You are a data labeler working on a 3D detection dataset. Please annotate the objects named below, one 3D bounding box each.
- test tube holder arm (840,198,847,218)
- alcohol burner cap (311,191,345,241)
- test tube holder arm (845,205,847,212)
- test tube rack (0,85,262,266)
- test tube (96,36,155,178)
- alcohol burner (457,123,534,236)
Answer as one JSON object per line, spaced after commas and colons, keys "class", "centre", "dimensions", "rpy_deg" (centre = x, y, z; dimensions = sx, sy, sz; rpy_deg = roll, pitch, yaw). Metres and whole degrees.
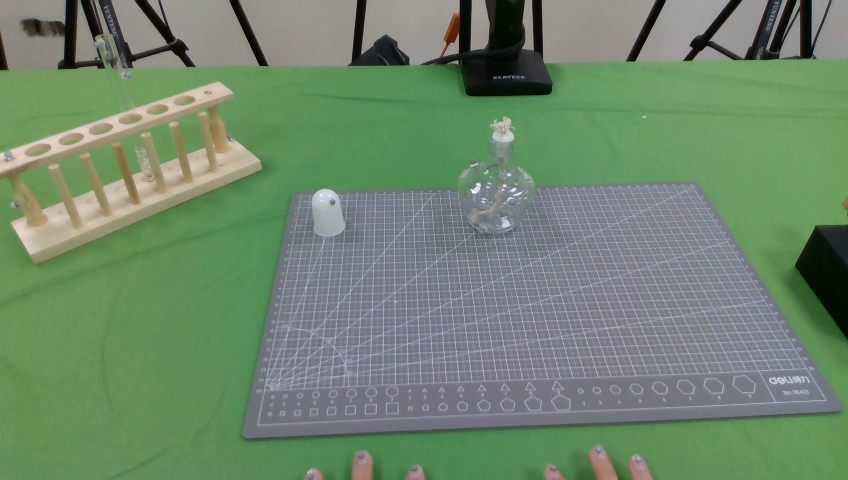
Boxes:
{"class": "test tube holder arm", "centre": [0.393, -0.005, 0.532], "dimensions": [0.010, 0.015, 0.087], "rpy_deg": [1, 42, 0]}
{"class": "alcohol burner cap", "centre": [-0.097, -0.027, 0.602], "dimensions": [0.034, 0.048, 0.033], "rpy_deg": [1, 41, 0]}
{"class": "test tube holder arm", "centre": [0.400, 0.025, 0.499], "dimensions": [0.013, 0.015, 0.176], "rpy_deg": [0, 42, -2]}
{"class": "test tube rack", "centre": [-0.297, -0.074, 0.624], "dimensions": [0.242, 0.086, 0.066], "rpy_deg": [-30, 49, -30]}
{"class": "test tube", "centre": [-0.297, -0.129, 0.611], "dimensions": [0.017, 0.151, 0.017], "rpy_deg": [-1, 37, 1]}
{"class": "alcohol burner", "centre": [0.071, -0.063, 0.591], "dimensions": [0.078, 0.120, 0.077], "rpy_deg": [1, 42, -1]}
